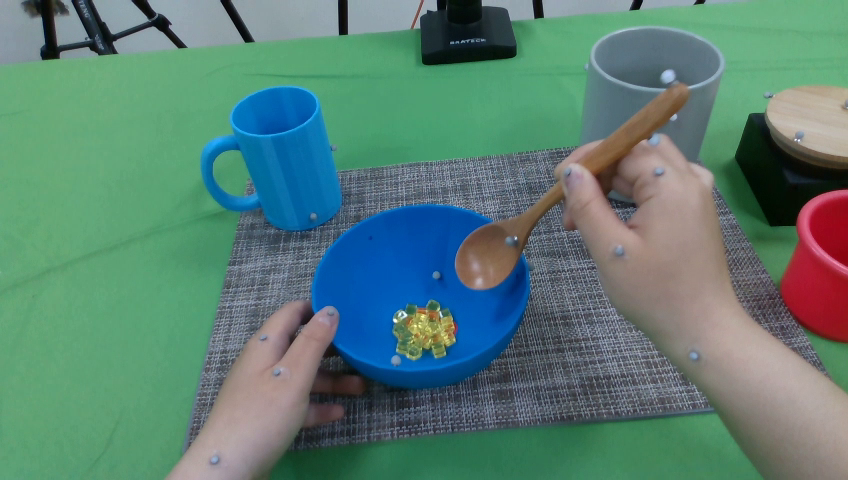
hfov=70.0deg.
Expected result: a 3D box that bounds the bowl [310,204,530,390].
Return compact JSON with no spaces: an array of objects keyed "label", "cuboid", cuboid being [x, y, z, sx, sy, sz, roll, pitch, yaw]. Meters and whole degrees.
[{"label":"bowl","cuboid":[0.000,0.052,0.438,0.151,0.077,0.150,-3,46,3]}]

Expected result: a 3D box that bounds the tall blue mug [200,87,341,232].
[{"label":"tall blue mug","cuboid":[-0.133,-0.063,0.543,0.077,0.109,0.107,32,56,30]}]

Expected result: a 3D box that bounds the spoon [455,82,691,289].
[{"label":"spoon","cuboid":[0.076,-0.023,0.354,0.022,0.194,0.041,-11,68,-36]}]

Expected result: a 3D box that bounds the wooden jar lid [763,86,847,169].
[{"label":"wooden jar lid","cuboid":[0.351,-0.097,0.523,0.108,0.021,0.107,-4,45,4]}]

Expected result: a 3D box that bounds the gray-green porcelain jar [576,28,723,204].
[{"label":"gray-green porcelain jar","cuboid":[0.192,-0.104,0.537,0.106,0.128,0.105,-3,46,3]}]
